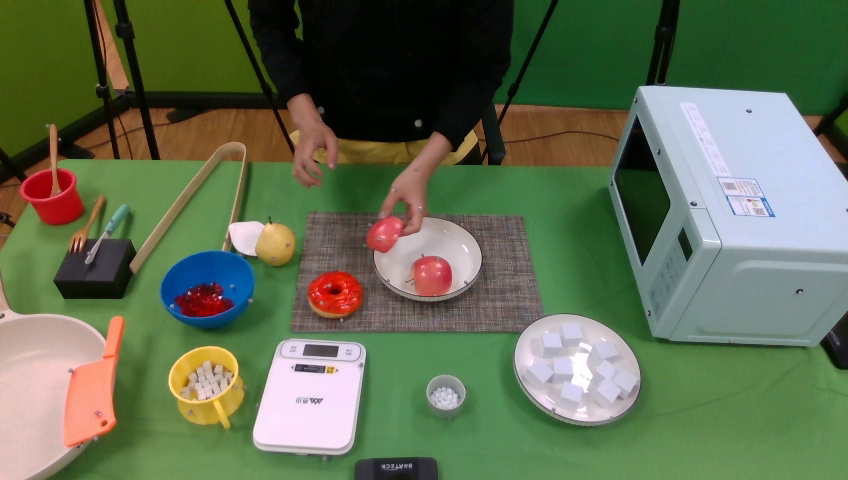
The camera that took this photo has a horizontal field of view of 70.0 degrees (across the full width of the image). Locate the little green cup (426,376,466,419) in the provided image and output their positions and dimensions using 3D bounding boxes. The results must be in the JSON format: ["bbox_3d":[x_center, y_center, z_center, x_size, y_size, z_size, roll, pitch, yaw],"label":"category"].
[{"bbox_3d":[0.033,0.248,0.950,0.061,0.039,0.061,2,46,-2],"label":"little green cup"}]

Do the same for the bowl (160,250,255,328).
[{"bbox_3d":[-0.362,0.098,1.040,0.151,0.077,0.150,2,45,-2],"label":"bowl"}]

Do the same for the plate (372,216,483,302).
[{"bbox_3d":[0.006,0.038,1.145,0.209,0.038,0.208,2,46,-2],"label":"plate"}]

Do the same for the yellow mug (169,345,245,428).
[{"bbox_3d":[-0.322,0.230,0.922,0.100,0.064,0.130,-24,53,-25],"label":"yellow mug"}]

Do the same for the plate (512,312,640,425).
[{"bbox_3d":[0.246,0.213,0.999,0.208,0.039,0.206,2,46,-2],"label":"plate"}]

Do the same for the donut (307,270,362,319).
[{"bbox_3d":[-0.158,0.096,1.073,0.099,0.048,0.098,4,46,-4],"label":"donut"}]

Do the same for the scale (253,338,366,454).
[{"bbox_3d":[-0.175,0.236,0.951,0.149,0.032,0.199,4,45,-1],"label":"scale"}]

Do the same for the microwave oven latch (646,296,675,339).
[{"bbox_3d":[0.412,0.134,1.061,0.030,0.029,0.078,4,45,1],"label":"microwave oven latch"}]

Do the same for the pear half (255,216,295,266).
[{"bbox_3d":[-0.270,0.001,1.117,0.056,0.110,0.076,25,53,18],"label":"pear half"}]

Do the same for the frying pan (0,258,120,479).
[{"bbox_3d":[-0.647,0.164,0.936,0.307,0.103,0.485,-19,58,-22],"label":"frying pan"}]

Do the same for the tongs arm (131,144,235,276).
[{"bbox_3d":[-0.484,-0.075,1.236,0.028,0.028,0.385,5,45,14],"label":"tongs arm"}]

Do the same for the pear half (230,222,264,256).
[{"bbox_3d":[-0.333,0.000,1.167,0.088,0.031,0.070,30,52,5],"label":"pear half"}]

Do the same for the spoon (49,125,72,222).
[{"bbox_3d":[-0.718,-0.131,1.189,0.041,0.021,0.193,-4,90,-6],"label":"spoon"}]

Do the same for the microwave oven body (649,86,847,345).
[{"bbox_3d":[0.567,-0.053,1.118,0.326,0.261,0.439,2,45,-1],"label":"microwave oven body"}]

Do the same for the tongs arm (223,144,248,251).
[{"bbox_3d":[-0.398,-0.073,1.232,0.051,0.027,0.382,-4,45,1],"label":"tongs arm"}]

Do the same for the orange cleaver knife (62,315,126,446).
[{"bbox_3d":[-0.480,0.199,0.887,0.077,0.012,0.210,-9,47,-8],"label":"orange cleaver knife"}]

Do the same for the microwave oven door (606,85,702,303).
[{"bbox_3d":[0.422,-0.094,1.140,0.039,0.245,0.353,2,46,-1],"label":"microwave oven door"}]

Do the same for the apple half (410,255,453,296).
[{"bbox_3d":[0.015,0.058,1.103,0.075,0.053,0.080,-2,43,-8],"label":"apple half"}]

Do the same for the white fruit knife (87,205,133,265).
[{"bbox_3d":[-0.584,-0.013,1.129,0.016,0.027,0.206,-1,32,-4],"label":"white fruit knife"}]

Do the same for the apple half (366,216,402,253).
[{"bbox_3d":[-0.077,-0.016,1.093,0.081,0.033,0.081,-27,43,30],"label":"apple half"}]

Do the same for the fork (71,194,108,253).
[{"bbox_3d":[-0.634,-0.036,1.158,0.028,0.019,0.206,-7,31,-8],"label":"fork"}]
